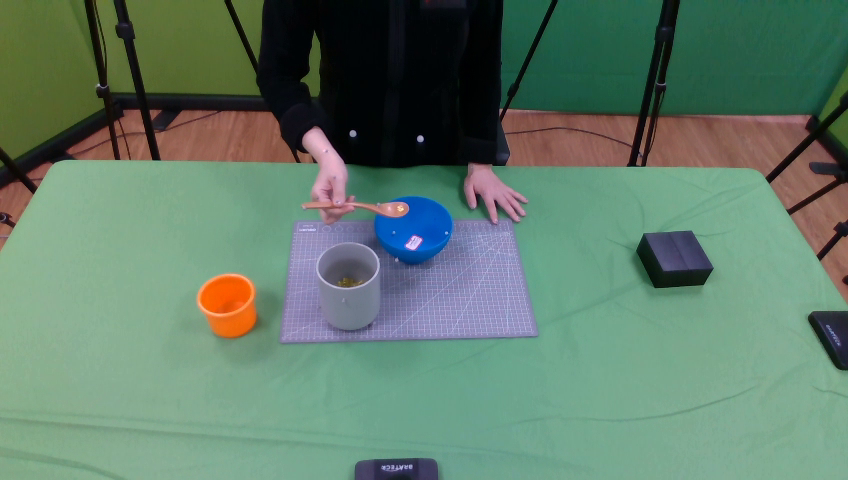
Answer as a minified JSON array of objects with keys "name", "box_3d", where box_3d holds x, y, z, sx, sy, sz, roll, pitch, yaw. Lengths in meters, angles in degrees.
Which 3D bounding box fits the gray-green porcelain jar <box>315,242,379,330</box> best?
[{"name":"gray-green porcelain jar","box_3d":[-0.129,0.084,1.031,0.106,0.127,0.105,2,46,-2]}]

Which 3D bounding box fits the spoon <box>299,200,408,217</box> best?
[{"name":"spoon","box_3d":[-0.117,-0.058,1.027,0.194,0.022,0.041,4,43,-30]}]

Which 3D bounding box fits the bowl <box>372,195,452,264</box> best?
[{"name":"bowl","box_3d":[-0.023,-0.008,1.161,0.151,0.077,0.150,2,46,-2]}]
